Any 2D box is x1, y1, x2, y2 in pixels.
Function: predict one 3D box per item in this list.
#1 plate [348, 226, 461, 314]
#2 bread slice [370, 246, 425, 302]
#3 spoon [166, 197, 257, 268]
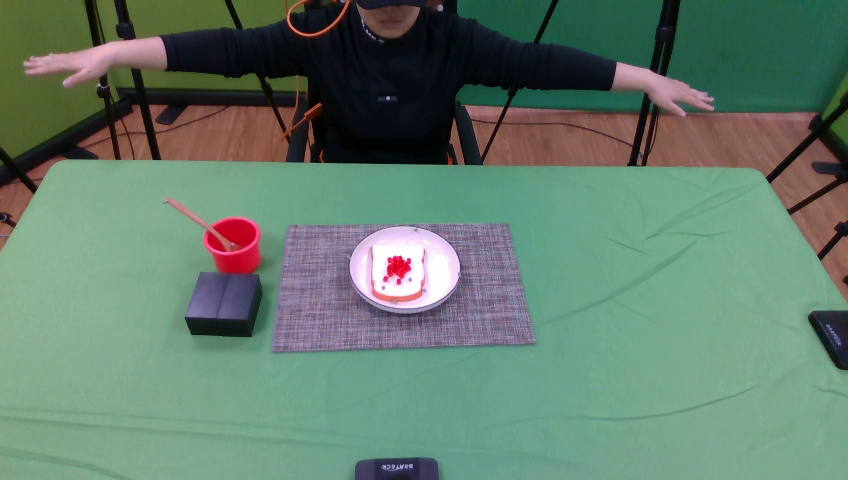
[{"bbox_3d":[-0.035,0.058,1.123,0.209,0.038,0.208,2,46,-2],"label":"plate"},{"bbox_3d":[-0.048,0.060,1.123,0.105,0.019,0.130,0,46,-3],"label":"bread slice"},{"bbox_3d":[-0.383,-0.014,1.100,0.194,0.021,0.041,45,46,-22],"label":"spoon"}]
